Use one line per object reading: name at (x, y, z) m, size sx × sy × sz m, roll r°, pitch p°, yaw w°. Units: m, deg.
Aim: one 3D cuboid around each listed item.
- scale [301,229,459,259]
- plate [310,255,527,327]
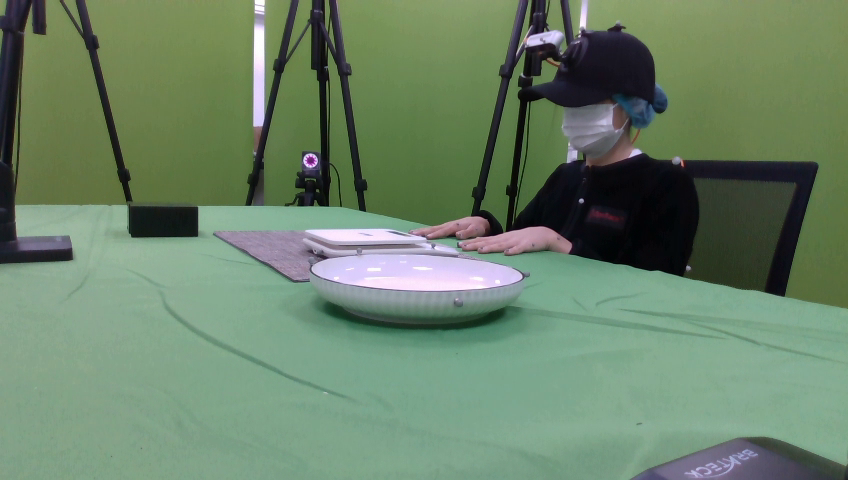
scale at (-0.065, 0.007, 0.878) m, size 0.202 × 0.031 × 0.148 m, roll 0°, pitch 8°, yaw -29°
plate at (-0.006, 0.047, 0.587) m, size 0.208 × 0.039 × 0.207 m, roll 3°, pitch 7°, yaw 0°
